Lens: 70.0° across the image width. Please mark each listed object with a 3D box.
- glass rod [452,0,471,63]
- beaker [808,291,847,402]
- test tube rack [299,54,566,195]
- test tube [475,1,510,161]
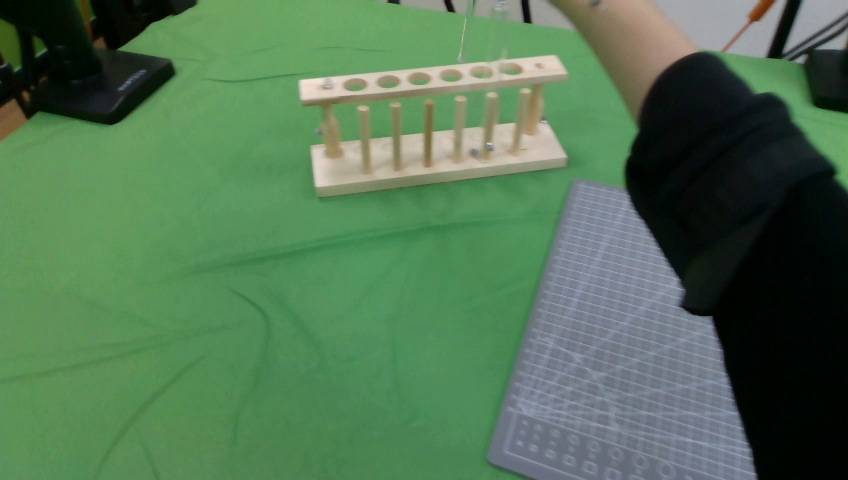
[{"bbox_3d":[0.034,-0.191,0.386,0.008,0.201,0.008,3,58,-5],"label":"glass rod"},{"bbox_3d":[0.305,0.059,0.395,0.084,0.101,0.073,2,45,3],"label":"beaker"},{"bbox_3d":[0.012,-0.109,0.570,0.243,0.086,0.066,-8,46,-8],"label":"test tube rack"},{"bbox_3d":[0.059,-0.134,0.532,0.017,0.151,0.017,2,44,-1],"label":"test tube"}]
